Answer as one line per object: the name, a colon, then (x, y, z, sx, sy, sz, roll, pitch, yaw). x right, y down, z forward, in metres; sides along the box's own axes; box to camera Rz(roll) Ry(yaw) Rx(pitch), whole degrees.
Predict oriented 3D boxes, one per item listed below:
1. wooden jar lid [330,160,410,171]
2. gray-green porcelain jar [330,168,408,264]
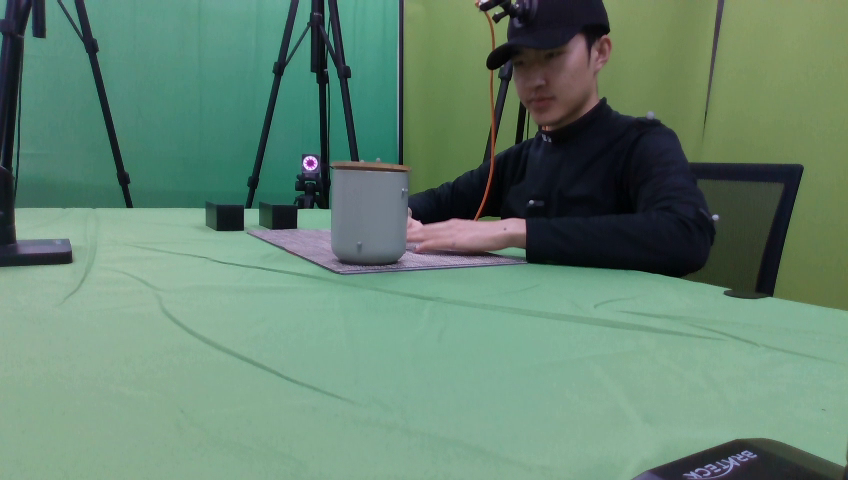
wooden jar lid: (-0.074, -0.096, 0.825, 0.108, 0.020, 0.108, 3, 3, 0)
gray-green porcelain jar: (-0.075, -0.035, 0.833, 0.106, 0.126, 0.106, 2, 7, 0)
